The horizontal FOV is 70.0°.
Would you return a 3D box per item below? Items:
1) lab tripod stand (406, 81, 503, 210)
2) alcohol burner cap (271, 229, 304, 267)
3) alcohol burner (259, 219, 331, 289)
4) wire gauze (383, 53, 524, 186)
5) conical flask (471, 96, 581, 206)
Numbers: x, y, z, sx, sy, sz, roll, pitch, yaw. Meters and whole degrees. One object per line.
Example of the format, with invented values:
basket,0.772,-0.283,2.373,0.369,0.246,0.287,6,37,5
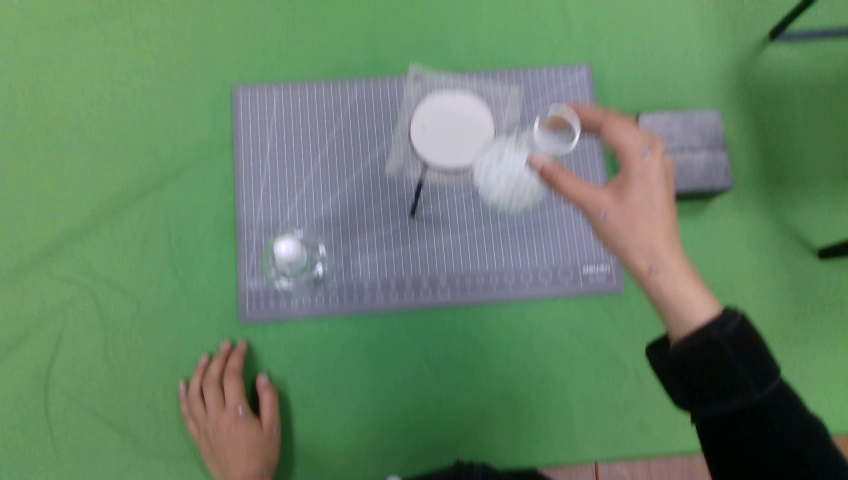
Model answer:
lab tripod stand,0.022,-0.109,0.671,0.148,0.132,0.147,0,79,0
alcohol burner cap,-0.140,0.006,0.615,0.034,0.048,0.033,2,74,-6
alcohol burner,-0.141,0.013,0.650,0.078,0.119,0.077,0,80,-2
wire gauze,0.031,-0.121,0.605,0.121,0.011,0.124,13,78,0
conical flask,0.087,-0.076,0.494,0.075,0.122,0.075,2,81,-10
